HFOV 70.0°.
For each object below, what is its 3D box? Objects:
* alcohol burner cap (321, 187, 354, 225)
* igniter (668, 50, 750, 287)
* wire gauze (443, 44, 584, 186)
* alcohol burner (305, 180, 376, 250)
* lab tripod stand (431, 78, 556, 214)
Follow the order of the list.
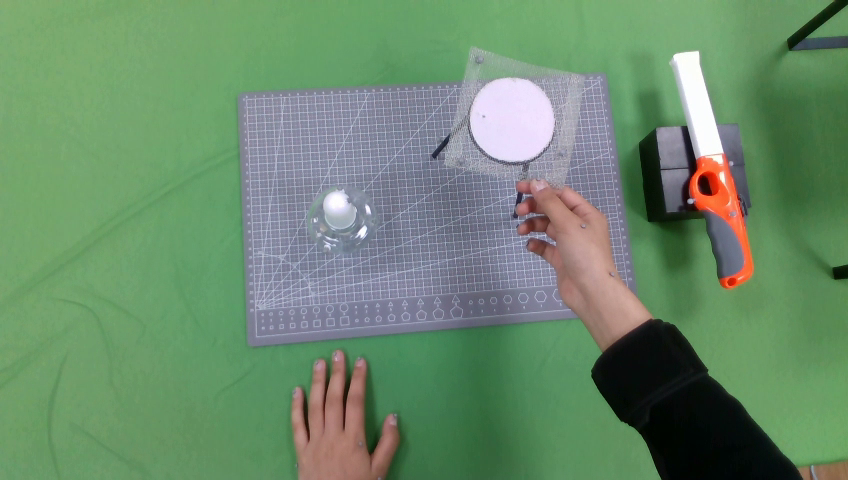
[{"bbox_3d":[-0.089,-0.037,0.613,0.034,0.048,0.033,1,73,-3],"label":"alcohol burner cap"},{"bbox_3d":[0.321,-0.085,0.683,0.057,0.025,0.275,-7,79,-2],"label":"igniter"},{"bbox_3d":[0.090,-0.122,0.596,0.122,0.011,0.124,14,82,-5],"label":"wire gauze"},{"bbox_3d":[-0.091,-0.030,0.648,0.078,0.119,0.077,0,82,-3],"label":"alcohol burner"},{"bbox_3d":[0.084,-0.112,0.663,0.148,0.132,0.147,1,79,-3],"label":"lab tripod stand"}]
